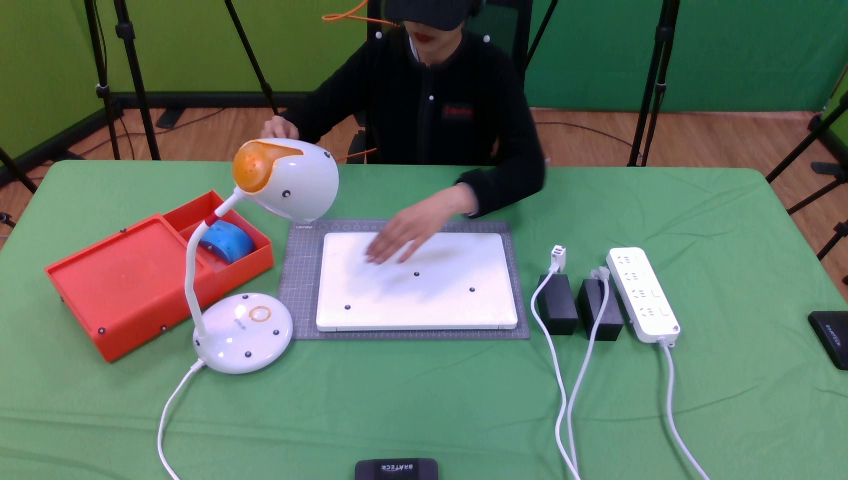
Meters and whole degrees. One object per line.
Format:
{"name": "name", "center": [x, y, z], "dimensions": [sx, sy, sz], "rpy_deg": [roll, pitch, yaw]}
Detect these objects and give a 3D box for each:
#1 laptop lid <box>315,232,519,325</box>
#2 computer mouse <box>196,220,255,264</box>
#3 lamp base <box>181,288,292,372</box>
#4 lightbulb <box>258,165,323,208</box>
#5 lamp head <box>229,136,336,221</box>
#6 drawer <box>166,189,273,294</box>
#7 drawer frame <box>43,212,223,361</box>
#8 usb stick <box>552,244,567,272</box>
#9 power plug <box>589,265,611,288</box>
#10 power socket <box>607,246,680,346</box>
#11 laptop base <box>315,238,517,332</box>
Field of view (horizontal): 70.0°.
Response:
{"name": "laptop lid", "center": [-0.015, 0.065, 1.118], "dimensions": [0.357, 0.013, 0.240], "rpy_deg": [1, 43, -3]}
{"name": "computer mouse", "center": [-0.380, -0.002, 1.153], "dimensions": [0.116, 0.041, 0.062], "rpy_deg": [28, 53, 28]}
{"name": "lamp base", "center": [-0.309, 0.108, 0.959], "dimensions": [0.160, 0.181, 0.179], "rpy_deg": [30, 55, 22]}
{"name": "lightbulb", "center": [-0.180, -0.076, 0.809], "dimensions": [0.059, 0.059, 0.108], "rpy_deg": [36, 9, 27]}
{"name": "lamp head", "center": [-0.195, -0.085, 0.791], "dimensions": [0.112, 0.112, 0.123], "rpy_deg": [35, 14, 27]}
{"name": "drawer", "center": [-0.419, 0.021, 1.108], "dimensions": [0.193, 0.073, 0.211], "rpy_deg": [38, 55, 27]}
{"name": "drawer frame", "center": [-0.497, 0.073, 1.049], "dimensions": [0.213, 0.083, 0.200], "rpy_deg": [-34, 57, -31]}
{"name": "usb stick", "center": [0.251, 0.039, 1.123], "dimensions": [0.021, 0.059, 0.027], "rpy_deg": [14, 47, 24]}
{"name": "power plug", "center": [0.318, 0.073, 1.108], "dimensions": [0.035, 0.053, 0.072], "rpy_deg": [26, 34, 13]}
{"name": "power socket", "center": [0.403, 0.096, 1.123], "dimensions": [0.072, 0.033, 0.225], "rpy_deg": [-2, 46, -5]}
{"name": "laptop base", "center": [-0.016, 0.075, 1.125], "dimensions": [0.355, 0.023, 0.234], "rpy_deg": [0, 42, -4]}
